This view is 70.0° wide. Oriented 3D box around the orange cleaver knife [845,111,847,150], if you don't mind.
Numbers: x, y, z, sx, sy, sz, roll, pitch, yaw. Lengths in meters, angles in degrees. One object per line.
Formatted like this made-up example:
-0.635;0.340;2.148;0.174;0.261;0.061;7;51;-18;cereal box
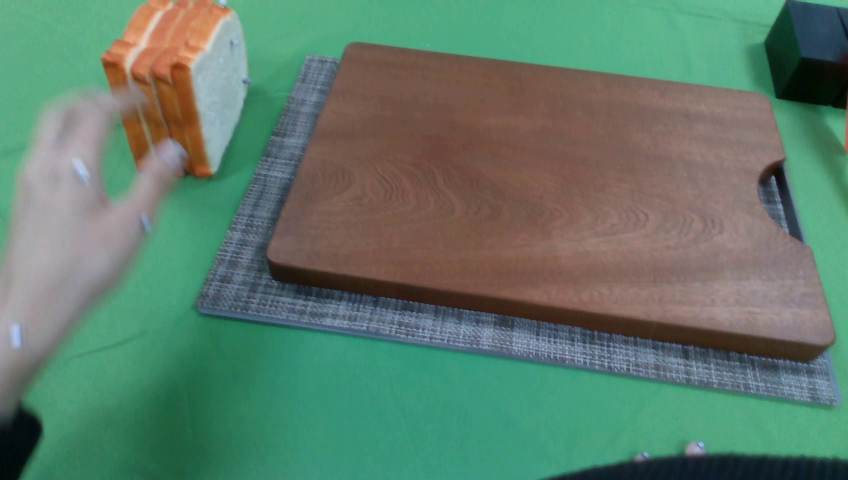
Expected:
0.394;-0.110;0.530;0.012;0.077;0.210;9;81;4;orange cleaver knife

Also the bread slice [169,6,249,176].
-0.175;-0.134;0.511;0.019;0.106;0.130;7;46;0;bread slice

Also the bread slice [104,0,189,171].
-0.225;-0.136;0.512;0.018;0.108;0.133;6;44;-4;bread slice
